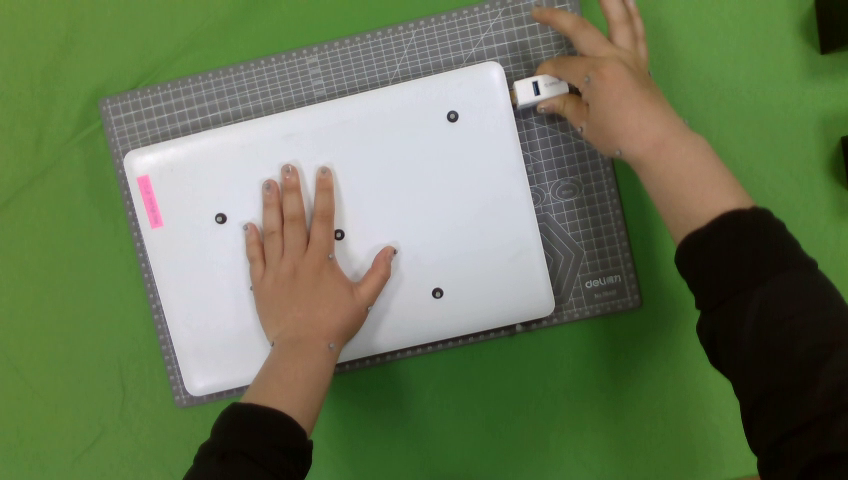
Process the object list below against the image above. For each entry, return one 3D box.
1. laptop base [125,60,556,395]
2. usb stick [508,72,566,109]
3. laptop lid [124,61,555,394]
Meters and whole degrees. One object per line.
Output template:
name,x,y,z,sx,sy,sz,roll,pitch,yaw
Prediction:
laptop base,-0.076,-0.007,0.558,0.354,0.023,0.236,-14,97,3
usb stick,0.092,-0.130,0.532,0.059,0.027,0.021,-10,90,1
laptop lid,-0.076,-0.005,0.549,0.356,0.013,0.242,-12,96,4
